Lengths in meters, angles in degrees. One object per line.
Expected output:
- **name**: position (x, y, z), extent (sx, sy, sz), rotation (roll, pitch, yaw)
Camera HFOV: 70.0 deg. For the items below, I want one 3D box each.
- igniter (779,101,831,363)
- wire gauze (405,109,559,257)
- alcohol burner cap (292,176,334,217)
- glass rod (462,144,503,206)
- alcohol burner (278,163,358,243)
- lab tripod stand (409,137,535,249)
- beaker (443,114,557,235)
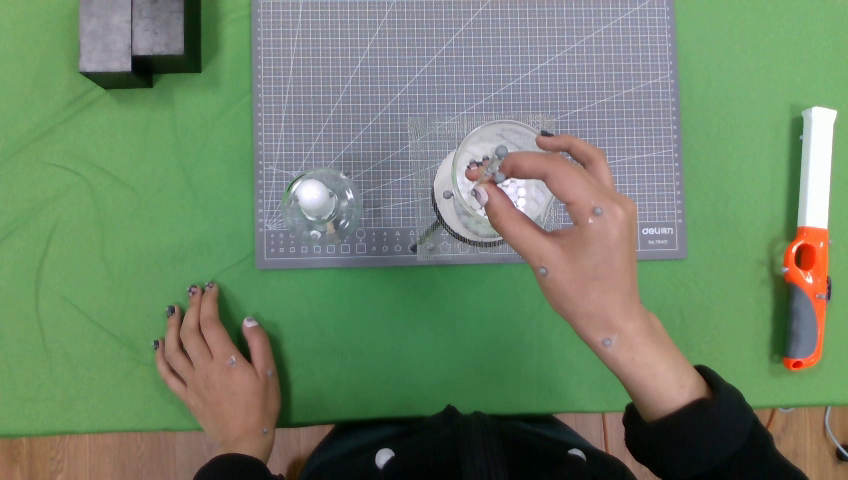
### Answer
- **igniter**: position (0.402, -0.008, 0.638), extent (0.057, 0.025, 0.276), rotation (7, 87, -13)
- **wire gauze**: position (0.048, -0.048, 0.503), extent (0.125, 0.011, 0.121), rotation (-2, 85, 0)
- **alcohol burner cap**: position (-0.100, -0.040, 0.536), extent (0.034, 0.048, 0.033), rotation (0, 82, 0)
- **glass rod**: position (0.036, -0.037, 0.399), extent (0.008, 0.200, 0.008), rotation (0, 86, -1)
- **alcohol burner**: position (-0.102, -0.038, 0.572), extent (0.078, 0.119, 0.077), rotation (0, 84, -3)
- **lab tripod stand**: position (0.045, -0.040, 0.568), extent (0.148, 0.131, 0.148), rotation (0, 86, 0)
- **beaker**: position (0.053, -0.041, 0.455), extent (0.074, 0.100, 0.084), rotation (-34, 87, -4)
